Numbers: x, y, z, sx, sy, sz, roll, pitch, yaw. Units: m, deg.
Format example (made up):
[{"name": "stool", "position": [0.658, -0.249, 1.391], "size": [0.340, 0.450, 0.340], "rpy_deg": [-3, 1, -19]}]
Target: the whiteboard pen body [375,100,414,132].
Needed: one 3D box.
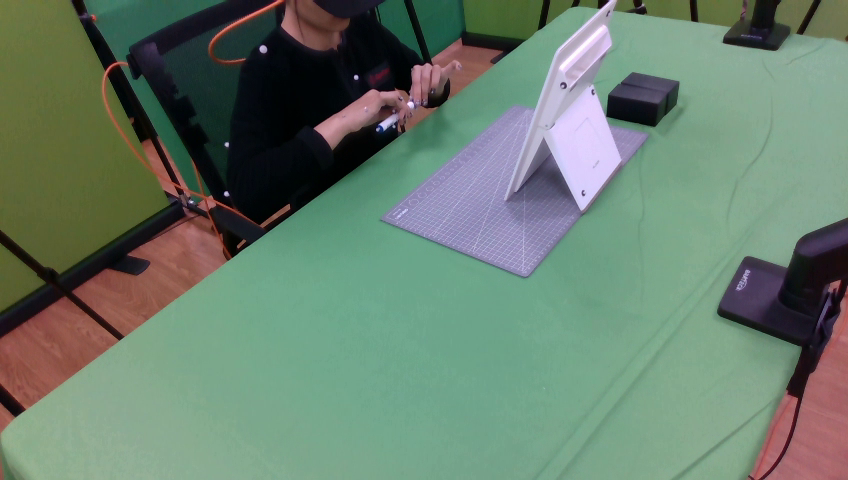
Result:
[{"name": "whiteboard pen body", "position": [-0.051, -0.248, 1.187], "size": [0.017, 0.017, 0.141], "rpy_deg": [17, 44, 28]}]

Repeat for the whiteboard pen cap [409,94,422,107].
[{"name": "whiteboard pen cap", "position": [-0.019, -0.282, 1.226], "size": [0.018, 0.018, 0.033], "rpy_deg": [18, 44, 28]}]

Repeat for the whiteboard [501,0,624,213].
[{"name": "whiteboard", "position": [0.271, -0.189, 0.977], "size": [0.143, 0.306, 0.218], "rpy_deg": [34, 53, 16]}]
